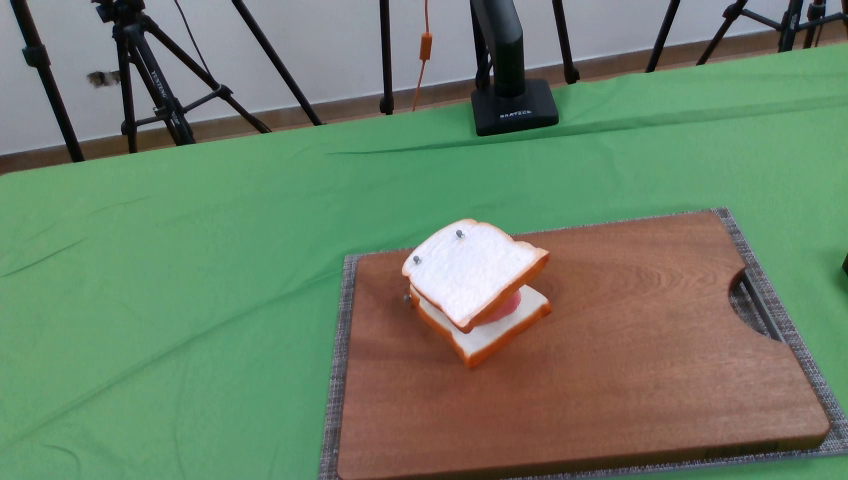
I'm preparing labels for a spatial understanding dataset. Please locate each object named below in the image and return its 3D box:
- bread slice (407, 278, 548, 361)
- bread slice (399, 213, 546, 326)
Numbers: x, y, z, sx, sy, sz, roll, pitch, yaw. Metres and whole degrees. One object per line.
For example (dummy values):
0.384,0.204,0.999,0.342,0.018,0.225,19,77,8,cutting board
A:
0.043,0.053,0.614,0.105,0.019,0.130,-32,47,-22,bread slice
0.036,0.022,0.583,0.107,0.018,0.133,-41,36,-17,bread slice
